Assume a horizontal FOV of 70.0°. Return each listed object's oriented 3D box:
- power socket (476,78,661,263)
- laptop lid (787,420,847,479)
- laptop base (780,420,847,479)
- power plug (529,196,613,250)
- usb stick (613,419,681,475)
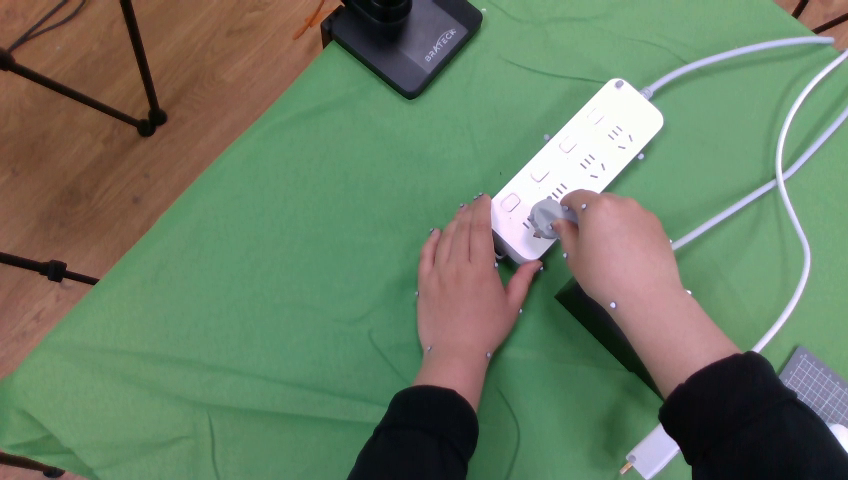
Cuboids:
[{"bbox_3d":[0.142,-0.070,0.592,0.072,0.032,0.226,45,77,4],"label":"power socket"},{"bbox_3d":[0.434,0.361,0.528,0.356,0.013,0.241,42,79,4],"label":"laptop lid"},{"bbox_3d":[0.435,0.361,0.540,0.354,0.023,0.235,40,80,3],"label":"laptop base"},{"bbox_3d":[0.123,-0.007,0.537,0.035,0.053,0.072,-38,86,-15],"label":"power plug"},{"bbox_3d":[0.193,0.185,0.528,0.059,0.022,0.027,-46,59,12],"label":"usb stick"}]
